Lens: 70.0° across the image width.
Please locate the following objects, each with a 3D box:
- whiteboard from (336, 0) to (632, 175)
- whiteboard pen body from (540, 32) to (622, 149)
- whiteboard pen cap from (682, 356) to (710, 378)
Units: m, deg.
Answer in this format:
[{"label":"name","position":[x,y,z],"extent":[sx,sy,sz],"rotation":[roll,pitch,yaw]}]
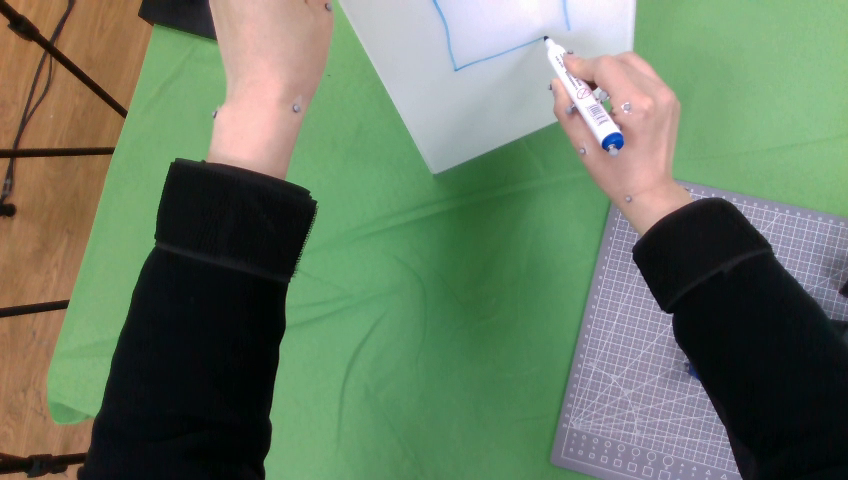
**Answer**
[{"label":"whiteboard","position":[0.046,-0.222,0.509],"extent":[0.217,0.308,0.142],"rotation":[-22,65,7]},{"label":"whiteboard pen body","position":[0.113,-0.118,0.454],"extent":[0.017,0.017,0.139],"rotation":[-22,52,6]},{"label":"whiteboard pen cap","position":[0.256,0.118,0.571],"extent":[0.018,0.033,0.018],"rotation":[0,89,7]}]
